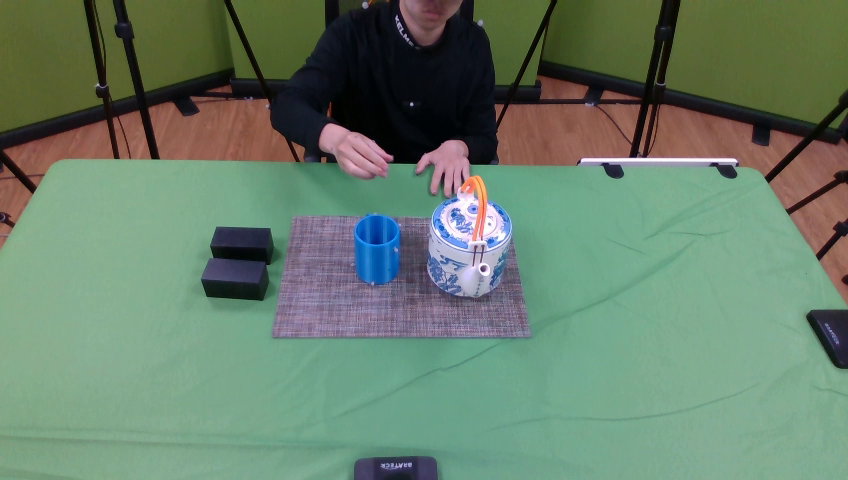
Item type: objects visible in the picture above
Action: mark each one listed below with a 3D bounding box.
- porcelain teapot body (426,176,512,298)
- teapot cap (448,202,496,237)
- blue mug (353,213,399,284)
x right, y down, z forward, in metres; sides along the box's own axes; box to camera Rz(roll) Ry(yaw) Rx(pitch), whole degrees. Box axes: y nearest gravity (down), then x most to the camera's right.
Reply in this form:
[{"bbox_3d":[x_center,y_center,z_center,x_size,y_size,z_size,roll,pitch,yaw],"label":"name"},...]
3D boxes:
[{"bbox_3d":[0.085,0.009,1.051,0.145,0.226,0.204,-5,47,-9],"label":"porcelain teapot body"},{"bbox_3d":[0.083,-0.038,1.041,0.085,0.044,0.084,0,48,0],"label":"teapot cap"},{"bbox_3d":[-0.093,0.006,1.123,0.082,0.106,0.115,-11,48,-15],"label":"blue mug"}]
